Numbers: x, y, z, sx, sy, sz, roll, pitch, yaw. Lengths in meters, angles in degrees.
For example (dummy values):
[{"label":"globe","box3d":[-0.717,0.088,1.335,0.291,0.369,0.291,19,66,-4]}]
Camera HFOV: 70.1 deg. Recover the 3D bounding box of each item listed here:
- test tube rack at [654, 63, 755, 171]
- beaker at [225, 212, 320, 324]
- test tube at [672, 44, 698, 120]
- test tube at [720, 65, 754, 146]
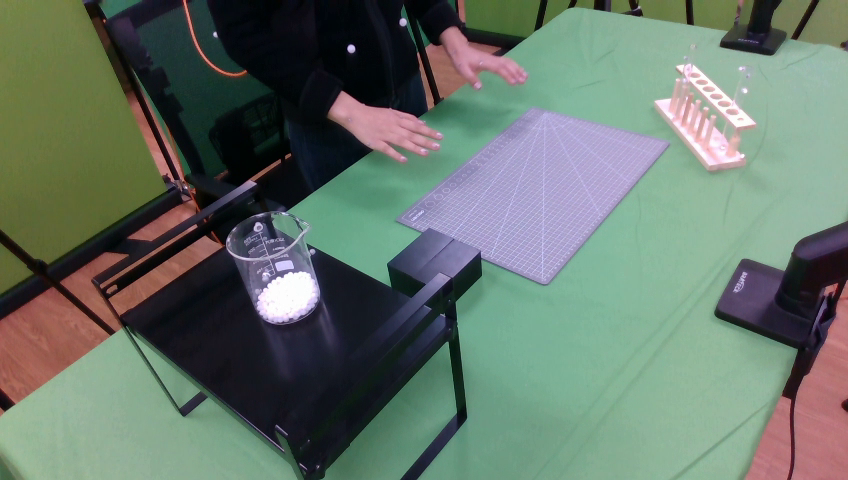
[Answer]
[{"label":"test tube rack","box3d":[0.510,-0.233,1.120,0.067,0.085,0.241,-8,41,-1]},{"label":"beaker","box3d":[-0.149,0.031,0.625,0.084,0.101,0.073,-18,42,-13]},{"label":"test tube","box3d":[0.484,-0.291,1.122,0.017,0.151,0.017,-2,41,2]},{"label":"test tube","box3d":[0.533,-0.226,1.032,0.017,0.151,0.017,-1,40,2]}]
